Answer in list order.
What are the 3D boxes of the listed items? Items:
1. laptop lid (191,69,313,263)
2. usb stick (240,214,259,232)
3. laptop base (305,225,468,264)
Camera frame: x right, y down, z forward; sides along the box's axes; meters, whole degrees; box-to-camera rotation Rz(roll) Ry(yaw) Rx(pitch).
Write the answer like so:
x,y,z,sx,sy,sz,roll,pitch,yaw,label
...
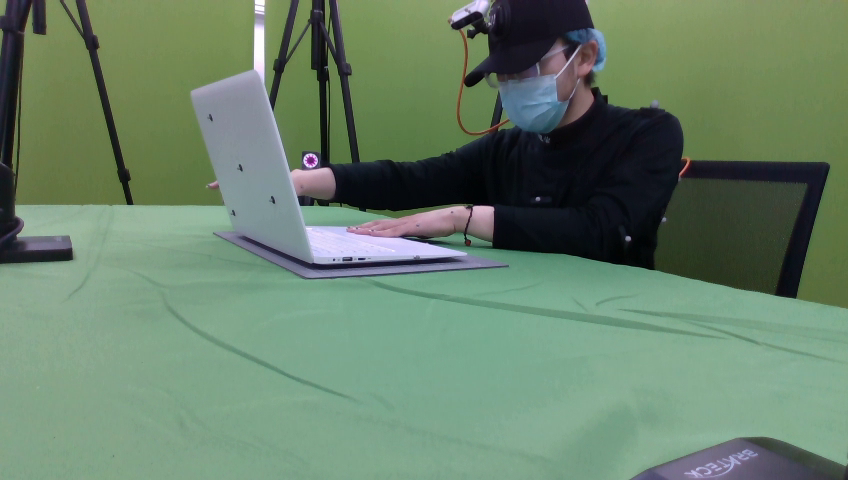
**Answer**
x,y,z,sx,sy,sz,roll,pitch,yaw,label
-0.251,-0.102,0.839,0.013,0.242,0.355,-22,20,-28,laptop lid
-0.302,-0.029,1.055,0.021,0.027,0.059,-4,16,-34,usb stick
-0.126,0.005,0.936,0.237,0.023,0.352,3,6,-33,laptop base
